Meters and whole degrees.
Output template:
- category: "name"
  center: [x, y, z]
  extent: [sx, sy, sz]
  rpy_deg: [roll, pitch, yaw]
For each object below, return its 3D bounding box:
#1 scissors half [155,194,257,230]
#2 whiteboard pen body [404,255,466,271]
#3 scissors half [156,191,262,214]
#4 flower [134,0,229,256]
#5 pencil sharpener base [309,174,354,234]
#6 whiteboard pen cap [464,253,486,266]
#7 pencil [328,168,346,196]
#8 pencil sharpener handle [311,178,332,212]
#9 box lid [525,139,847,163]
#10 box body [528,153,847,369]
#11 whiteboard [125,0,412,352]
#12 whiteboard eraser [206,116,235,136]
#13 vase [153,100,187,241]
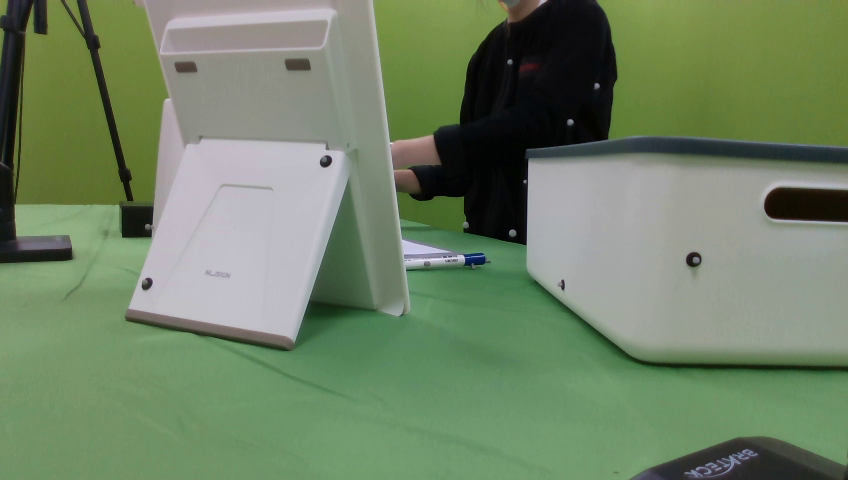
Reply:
- category: "scissors half"
  center: [-0.378, -0.051, 1.058]
  extent: [0.176, 0.040, 0.012]
  rpy_deg: [20, 22, -31]
- category: "whiteboard pen body"
  center: [0.012, 0.030, 0.792]
  extent: [0.141, 0.017, 0.017]
  rpy_deg: [-3, 9, -24]
- category: "scissors half"
  center: [-0.371, -0.069, 1.051]
  extent: [0.176, 0.040, 0.013]
  rpy_deg: [2, 25, -24]
- category: "flower"
  center: [-0.282, -0.147, 0.713]
  extent: [0.038, 0.362, 0.044]
  rpy_deg: [-23, 23, -31]
- category: "pencil sharpener base"
  center: [-0.176, -0.069, 1.139]
  extent: [0.062, 0.107, 0.076]
  rpy_deg: [-3, 9, -32]
- category: "whiteboard pen cap"
  center: [0.066, 0.027, 0.818]
  extent: [0.033, 0.018, 0.018]
  rpy_deg: [-6, 10, -24]
- category: "pencil"
  center: [-0.143, -0.098, 0.976]
  extent: [0.012, 0.012, 0.193]
  rpy_deg: [0, 17, -16]
- category: "pencil sharpener handle"
  center: [-0.205, -0.088, 1.179]
  extent: [0.036, 0.067, 0.030]
  rpy_deg: [10, 2, -33]
- category: "box lid"
  center: [0.261, -0.078, 0.580]
  extent: [0.264, 0.015, 0.371]
  rpy_deg: [2, 7, -4]
- category: "box body"
  center: [0.258, -0.005, 0.591]
  extent: [0.254, 0.160, 0.363]
  rpy_deg: [2, 7, -4]
- category: "whiteboard"
  center: [-0.151, -0.049, 0.472]
  extent: [0.216, 0.305, 0.144]
  rpy_deg: [6, 27, 24]
- category: "whiteboard eraser"
  center: [-0.450, -0.252, 1.335]
  extent: [0.056, 0.042, 0.112]
  rpy_deg: [1, 7, -22]
- category: "vase"
  center: [-0.278, -0.066, 0.736]
  extent: [0.098, 0.200, 0.098]
  rpy_deg: [2, 9, 0]
